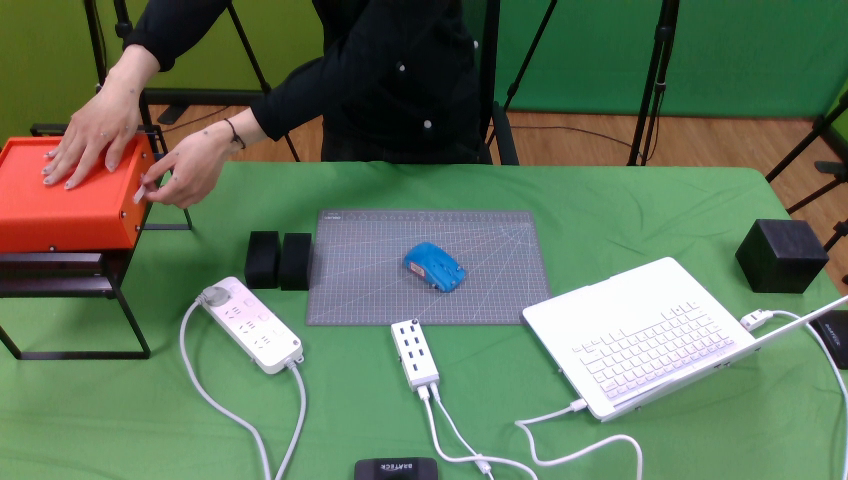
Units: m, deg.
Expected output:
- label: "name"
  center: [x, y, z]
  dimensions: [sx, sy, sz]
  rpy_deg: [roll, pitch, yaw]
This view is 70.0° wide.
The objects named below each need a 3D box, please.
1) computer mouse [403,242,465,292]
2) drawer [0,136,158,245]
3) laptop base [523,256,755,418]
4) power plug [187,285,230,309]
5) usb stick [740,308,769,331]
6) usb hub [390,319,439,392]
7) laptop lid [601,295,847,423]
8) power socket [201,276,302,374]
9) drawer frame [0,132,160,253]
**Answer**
- label: "computer mouse"
  center: [0.020, 0.047, 1.141]
  dimensions: [0.116, 0.041, 0.063]
  rpy_deg: [35, 52, 22]
- label: "drawer"
  center: [-0.544, -0.078, 0.942]
  dimensions: [0.212, 0.073, 0.193]
  rpy_deg: [-3, 47, -6]
- label: "laptop base"
  center: [0.380, 0.159, 1.077]
  dimensions: [0.355, 0.023, 0.234]
  rpy_deg: [-17, 48, -19]
- label: "power plug"
  center: [-0.370, 0.103, 1.039]
  dimensions: [0.072, 0.053, 0.035]
  rpy_deg: [-25, 53, -22]
- label: "usb stick"
  center: [0.587, 0.146, 1.087]
  dimensions: [0.059, 0.027, 0.021]
  rpy_deg: [-21, 48, -16]
- label: "usb hub"
  center: [-0.016, 0.190, 1.013]
  dimensions: [0.049, 0.025, 0.124]
  rpy_deg: [-11, 48, -15]
- label: "laptop lid"
  center: [0.449, 0.179, 0.905]
  dimensions: [0.357, 0.242, 0.013]
  rpy_deg: [-17, 64, -20]
- label: "power socket"
  center: [-0.297, 0.141, 1.034]
  dimensions: [0.072, 0.033, 0.225]
  rpy_deg: [-35, 58, -31]
- label: "drawer frame"
  center: [-0.545, -0.076, 0.940]
  dimensions: [0.214, 0.083, 0.200]
  rpy_deg: [-4, 47, -6]
